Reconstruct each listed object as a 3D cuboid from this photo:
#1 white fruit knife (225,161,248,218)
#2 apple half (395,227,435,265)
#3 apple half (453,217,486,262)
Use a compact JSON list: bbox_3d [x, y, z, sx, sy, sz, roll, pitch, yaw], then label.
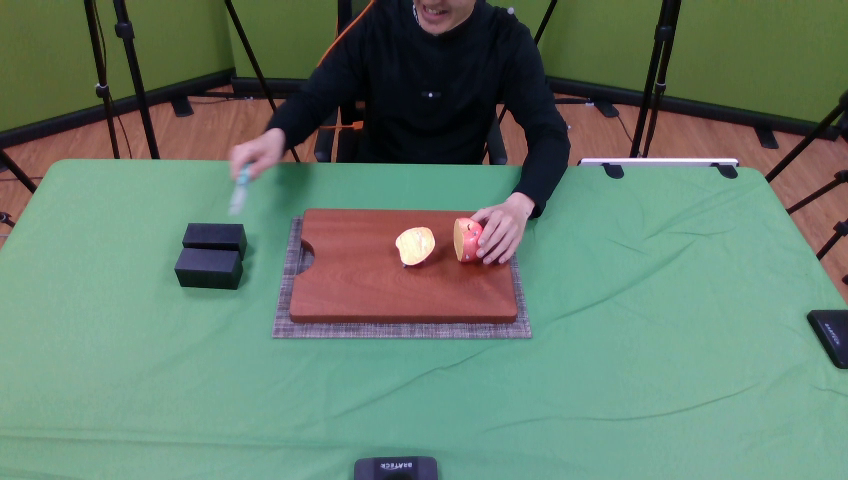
[{"bbox_3d":[-0.339,-0.094,1.092,0.016,0.027,0.206,-9,33,-2],"label":"white fruit knife"},{"bbox_3d":[-0.011,0.015,1.126,0.081,0.033,0.081,-9,57,15],"label":"apple half"},{"bbox_3d":[0.088,0.000,1.126,0.053,0.075,0.080,-3,44,-12],"label":"apple half"}]
